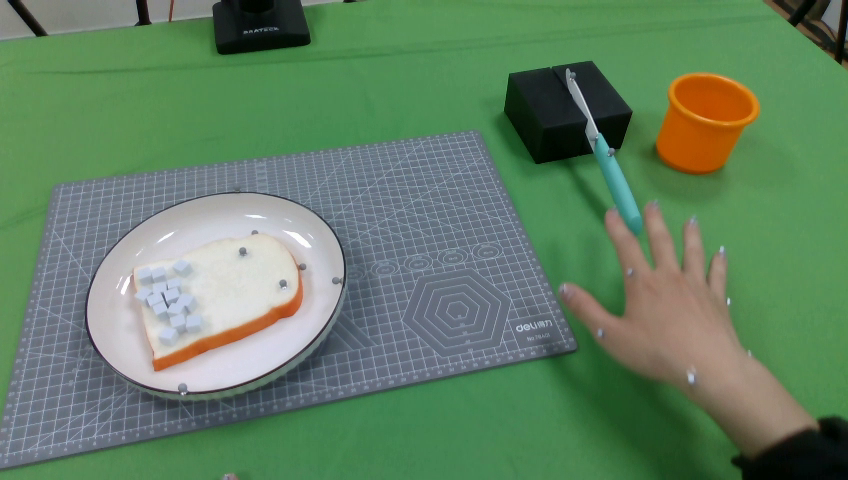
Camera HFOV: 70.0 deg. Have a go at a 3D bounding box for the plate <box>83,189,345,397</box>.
[{"bbox_3d":[-0.170,0.041,0.512,0.209,0.038,0.207,2,49,-1],"label":"plate"}]

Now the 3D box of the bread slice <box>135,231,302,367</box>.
[{"bbox_3d":[-0.174,0.039,0.517,0.132,0.019,0.104,-22,54,-18],"label":"bread slice"}]

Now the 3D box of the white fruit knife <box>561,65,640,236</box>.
[{"bbox_3d":[0.176,-0.100,0.622,0.016,0.027,0.205,-11,65,-12],"label":"white fruit knife"}]
